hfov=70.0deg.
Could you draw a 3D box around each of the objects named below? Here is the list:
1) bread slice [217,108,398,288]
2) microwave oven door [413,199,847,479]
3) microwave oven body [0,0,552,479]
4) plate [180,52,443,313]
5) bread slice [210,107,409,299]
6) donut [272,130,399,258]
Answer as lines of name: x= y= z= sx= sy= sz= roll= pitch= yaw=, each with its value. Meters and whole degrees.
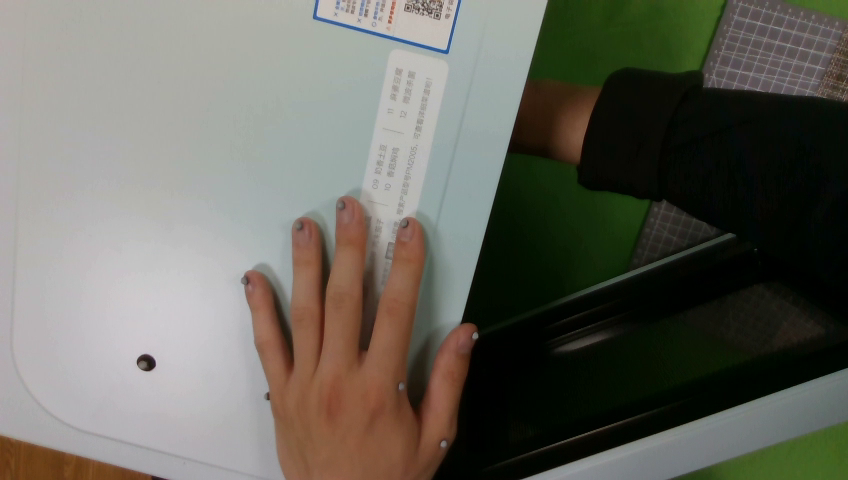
bread slice: x=-0.103 y=-0.036 z=0.488 sx=0.105 sy=0.019 sz=0.132 roll=-43 pitch=97 yaw=14
microwave oven door: x=0.161 y=0.079 z=0.444 sx=0.355 sy=0.243 sz=0.039 roll=-24 pitch=101 yaw=11
microwave oven body: x=-0.085 y=-0.091 z=0.422 sx=0.326 sy=0.259 sz=0.443 roll=14 pitch=107 yaw=0
plate: x=-0.087 y=-0.043 z=0.488 sx=0.207 sy=0.039 sz=0.208 roll=1 pitch=107 yaw=4
bread slice: x=-0.087 y=-0.030 z=0.428 sx=0.134 sy=0.018 sz=0.107 roll=24 pitch=109 yaw=8
donut: x=-0.068 y=-0.035 z=0.465 sx=0.099 sy=0.048 sz=0.099 roll=0 pitch=102 yaw=1
